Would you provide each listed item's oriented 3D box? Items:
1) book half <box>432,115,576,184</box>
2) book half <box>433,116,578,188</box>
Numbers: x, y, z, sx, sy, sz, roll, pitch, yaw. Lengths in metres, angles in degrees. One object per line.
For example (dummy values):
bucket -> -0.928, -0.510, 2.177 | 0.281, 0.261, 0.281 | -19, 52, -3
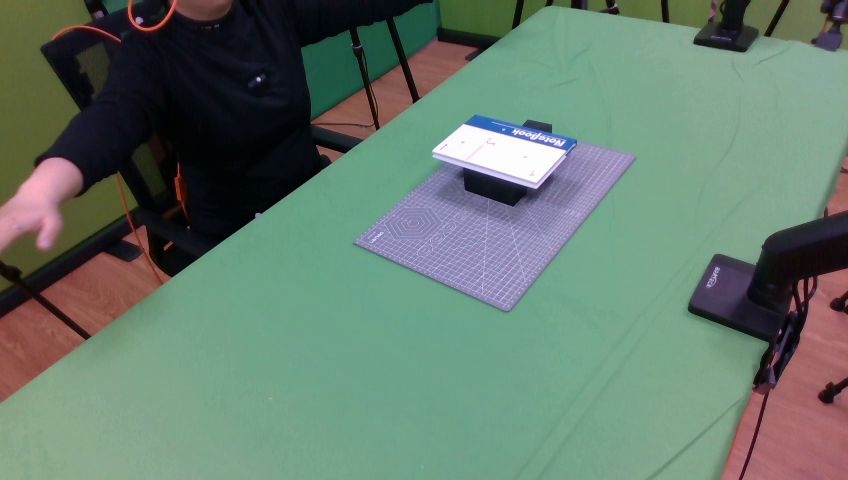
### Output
book half -> 0.138, -0.164, 1.054 | 0.208, 0.007, 0.143 | 22, 48, 29
book half -> 0.140, -0.160, 1.060 | 0.208, 0.016, 0.149 | 22, 47, 30
